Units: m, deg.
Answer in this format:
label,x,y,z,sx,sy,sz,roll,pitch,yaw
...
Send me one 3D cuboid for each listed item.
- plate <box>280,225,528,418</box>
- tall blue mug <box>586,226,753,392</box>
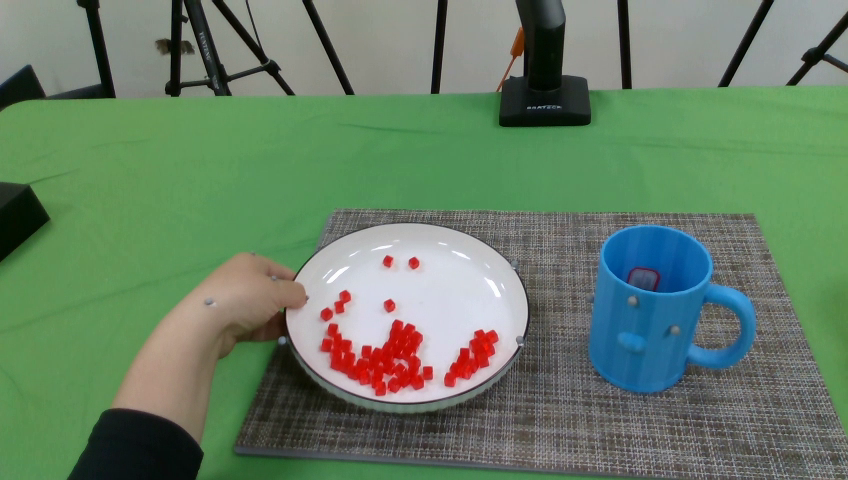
label,x,y,z,sx,sy,sz,roll,pitch,yaw
plate,-0.016,0.066,0.522,0.208,0.039,0.205,2,41,-1
tall blue mug,0.184,0.054,0.466,0.107,0.109,0.077,-3,39,4
